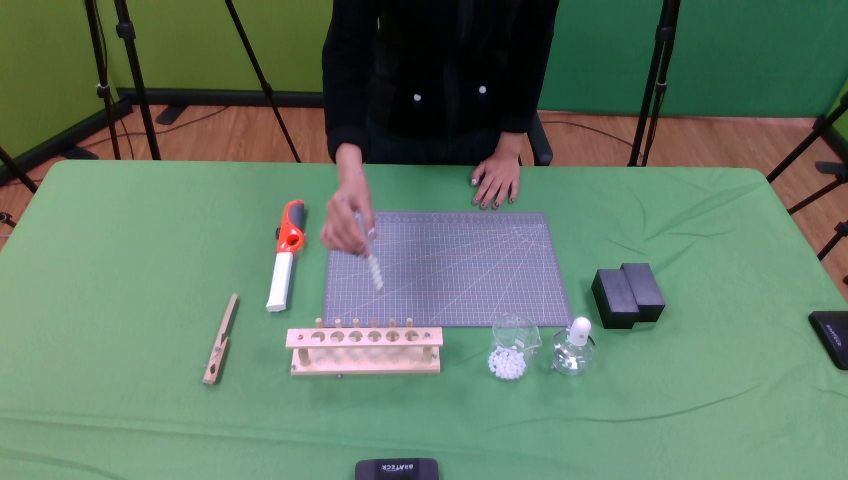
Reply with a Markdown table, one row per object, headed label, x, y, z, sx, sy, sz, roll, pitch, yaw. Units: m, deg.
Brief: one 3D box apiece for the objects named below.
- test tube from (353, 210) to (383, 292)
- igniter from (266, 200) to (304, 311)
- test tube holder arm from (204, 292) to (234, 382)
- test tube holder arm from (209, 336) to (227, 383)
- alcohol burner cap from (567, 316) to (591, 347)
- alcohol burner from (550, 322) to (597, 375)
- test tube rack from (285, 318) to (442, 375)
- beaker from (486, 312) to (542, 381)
| label | x | y | z | sx | sy | sz | roll | pitch | yaw |
| --- | --- | --- | --- | --- | --- | --- | --- | --- | --- |
| test tube | -0.083 | 0.020 | 0.916 | 0.017 | 0.151 | 0.017 | -8 | 36 | 6 |
| igniter | -0.263 | 0.020 | 1.156 | 0.057 | 0.025 | 0.274 | -6 | 46 | 4 |
| test tube holder arm | -0.343 | 0.159 | 1.020 | 0.013 | 0.015 | 0.177 | 27 | 39 | -27 |
| test tube holder arm | -0.338 | 0.193 | 0.991 | 0.010 | 0.015 | 0.087 | 29 | 38 | -26 |
| alcohol burner cap | 0.249 | 0.143 | 0.965 | 0.034 | 0.048 | 0.033 | 4 | 40 | -3 |
| alcohol burner | 0.248 | 0.168 | 0.991 | 0.078 | 0.119 | 0.077 | 2 | 48 | -2 |
| test tube rack | -0.095 | 0.168 | 0.986 | 0.242 | 0.085 | 0.066 | 0 | 46 | -4 |
| beaker | 0.144 | 0.177 | 0.985 | 0.084 | 0.101 | 0.074 | 22 | 49 | 16 |
